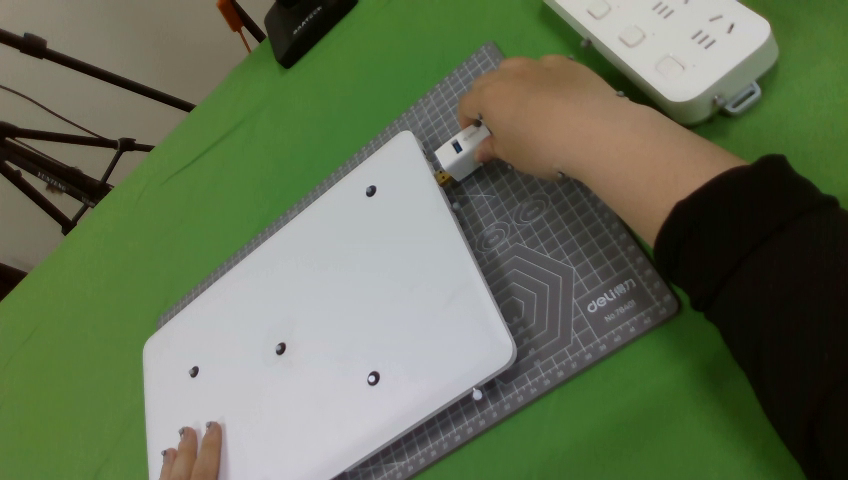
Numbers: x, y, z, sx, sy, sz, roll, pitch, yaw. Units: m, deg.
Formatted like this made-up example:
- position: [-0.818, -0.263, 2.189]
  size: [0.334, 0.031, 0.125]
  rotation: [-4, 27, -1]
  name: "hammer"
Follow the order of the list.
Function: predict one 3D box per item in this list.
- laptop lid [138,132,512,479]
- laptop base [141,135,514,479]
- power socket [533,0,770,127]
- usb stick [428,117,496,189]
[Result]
- position: [-0.115, 0.091, 0.489]
  size: [0.357, 0.013, 0.239]
  rotation: [-36, 52, 18]
  name: "laptop lid"
- position: [-0.109, 0.094, 0.499]
  size: [0.354, 0.023, 0.233]
  rotation: [-37, 53, 16]
  name: "laptop base"
- position: [0.145, -0.162, 0.430]
  size: [0.072, 0.033, 0.224]
  rotation: [-39, 49, 13]
  name: "power socket"
- position: [0.024, -0.063, 0.460]
  size: [0.059, 0.027, 0.021]
  rotation: [-41, 53, 20]
  name: "usb stick"
